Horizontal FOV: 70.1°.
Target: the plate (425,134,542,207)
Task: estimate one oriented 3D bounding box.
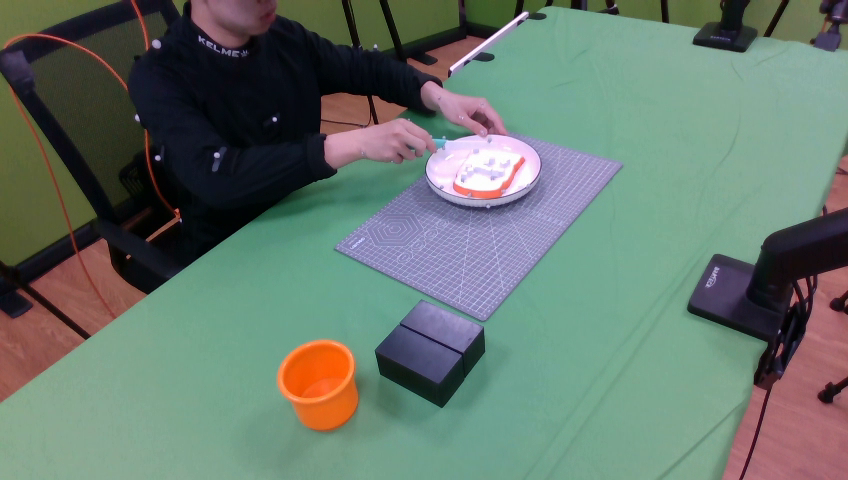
[{"bbox_3d":[0.106,-0.121,1.079,0.209,0.038,0.208,-4,40,4],"label":"plate"}]

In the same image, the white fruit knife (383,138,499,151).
[{"bbox_3d":[0.031,-0.169,1.072,0.208,0.027,0.016,-1,50,-3],"label":"white fruit knife"}]

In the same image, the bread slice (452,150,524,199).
[{"bbox_3d":[0.111,-0.119,1.078,0.104,0.019,0.131,11,43,21],"label":"bread slice"}]
